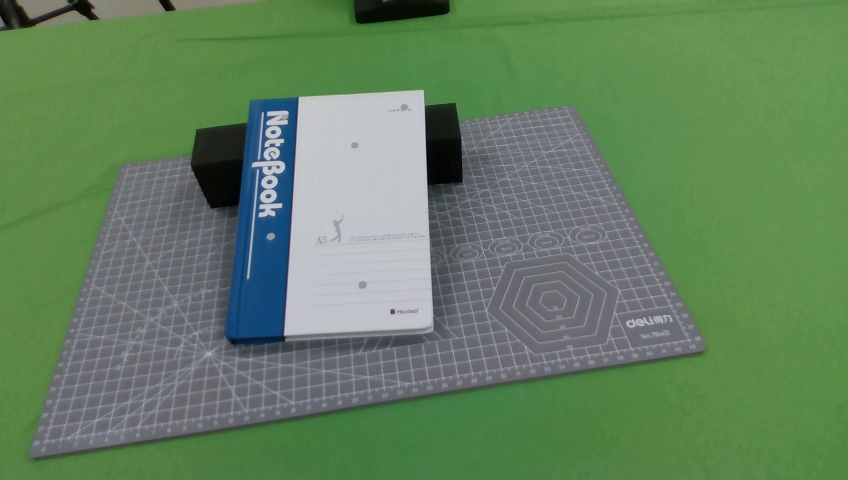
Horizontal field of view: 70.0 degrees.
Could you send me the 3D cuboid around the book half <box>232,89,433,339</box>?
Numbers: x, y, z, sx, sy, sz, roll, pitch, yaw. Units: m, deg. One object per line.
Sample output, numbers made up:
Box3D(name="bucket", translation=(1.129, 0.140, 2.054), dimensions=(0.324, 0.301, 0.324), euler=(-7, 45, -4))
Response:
Box3D(name="book half", translation=(-0.068, -0.028, 0.467), dimensions=(0.143, 0.007, 0.208), euler=(-3, 65, 2))
